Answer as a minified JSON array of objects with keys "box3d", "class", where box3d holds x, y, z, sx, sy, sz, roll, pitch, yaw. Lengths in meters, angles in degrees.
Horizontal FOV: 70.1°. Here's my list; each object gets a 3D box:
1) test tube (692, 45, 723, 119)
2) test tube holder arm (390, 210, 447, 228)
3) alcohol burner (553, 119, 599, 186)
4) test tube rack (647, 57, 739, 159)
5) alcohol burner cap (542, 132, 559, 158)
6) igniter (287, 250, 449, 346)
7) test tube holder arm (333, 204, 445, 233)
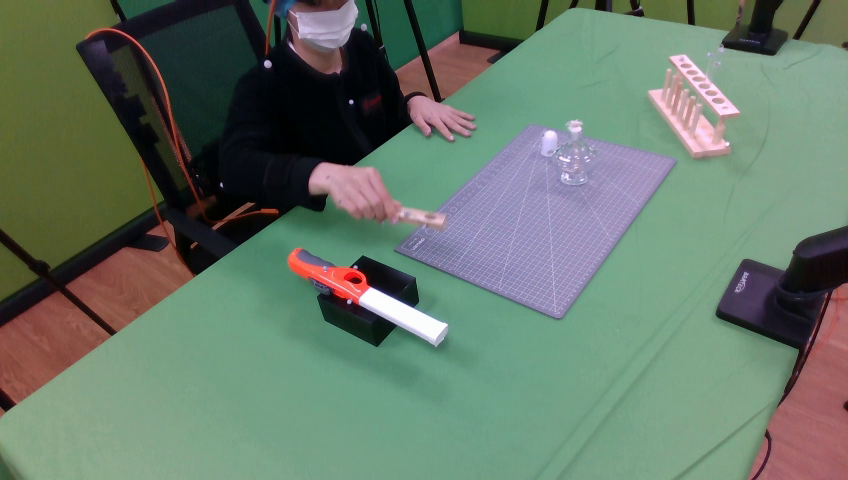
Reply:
[{"box3d":[0.517,-0.285,1.106,0.017,0.151,0.017,-2,46,2],"class":"test tube"},{"box3d":[-0.010,-0.029,0.841,0.087,0.015,0.010,10,49,24],"class":"test tube holder arm"},{"box3d":[0.261,-0.153,1.042,0.078,0.119,0.077,-6,40,6],"class":"alcohol burner"},{"box3d":[0.504,-0.257,1.153,0.067,0.085,0.241,-8,40,1],"class":"test tube rack"},{"box3d":[0.237,-0.180,1.134,0.034,0.048,0.033,-5,41,5],"class":"alcohol burner cap"},{"box3d":[-0.087,0.073,0.825,0.274,0.025,0.057,23,48,28],"class":"igniter"},{"box3d":[-0.053,-0.032,0.856,0.177,0.015,0.013,10,49,23],"class":"test tube holder arm"}]
